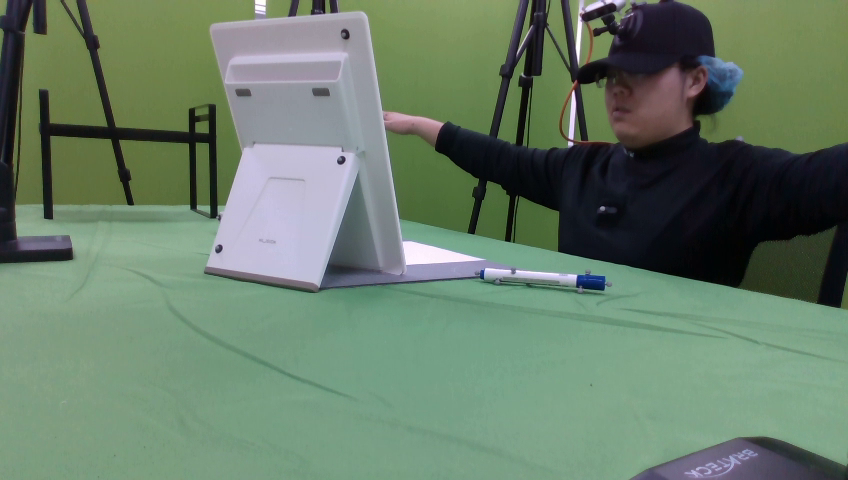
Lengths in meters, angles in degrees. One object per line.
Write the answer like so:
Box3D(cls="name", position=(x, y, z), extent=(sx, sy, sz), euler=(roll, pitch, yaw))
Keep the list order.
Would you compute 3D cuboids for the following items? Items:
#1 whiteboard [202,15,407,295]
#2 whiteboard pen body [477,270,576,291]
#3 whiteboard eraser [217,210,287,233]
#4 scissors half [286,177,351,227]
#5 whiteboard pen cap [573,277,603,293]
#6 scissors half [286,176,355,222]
Box3D(cls="whiteboard", position=(-0.167, -0.073, 0.668), extent=(0.216, 0.305, 0.144), euler=(7, 30, 28))
Box3D(cls="whiteboard pen body", position=(0.131, 0.048, 0.706), extent=(0.140, 0.017, 0.017), euler=(4, 7, 18))
Box3D(cls="whiteboard eraser", position=(-0.310, -0.034, 1.094), extent=(0.113, 0.042, 0.055), euler=(-2, 11, -38))
Box3D(cls="scissors half", position=(-0.232, -0.085, 1.317), extent=(0.175, 0.013, 0.040), euler=(38, 20, 4))
Box3D(cls="whiteboard pen cap", position=(0.186, 0.051, 0.687), extent=(0.033, 0.018, 0.018), euler=(4, 7, 18))
Box3D(cls="scissors half", position=(-0.229, -0.091, 1.337), extent=(0.175, 0.013, 0.040), euler=(33, 15, -13))
